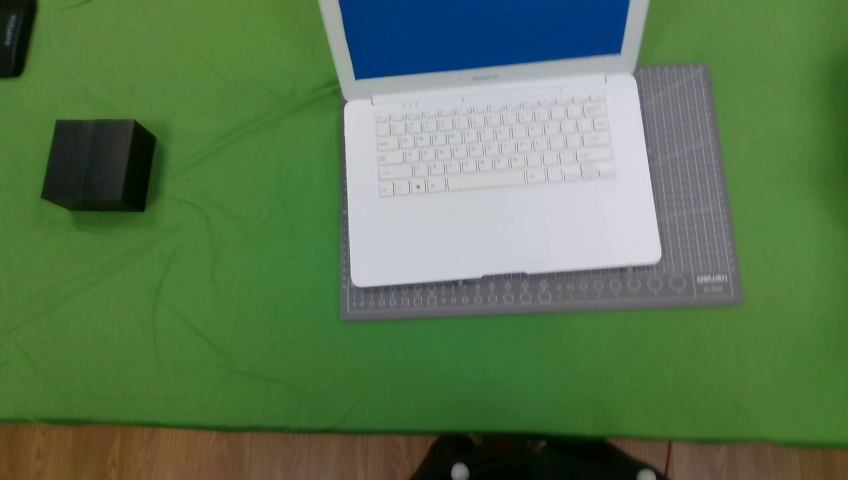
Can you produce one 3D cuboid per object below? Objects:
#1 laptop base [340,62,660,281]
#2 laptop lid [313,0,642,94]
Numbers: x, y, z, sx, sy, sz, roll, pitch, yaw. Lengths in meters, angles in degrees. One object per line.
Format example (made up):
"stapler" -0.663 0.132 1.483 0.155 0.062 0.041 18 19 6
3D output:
"laptop base" 0.081 -0.081 0.711 0.354 0.023 0.234 -5 81 3
"laptop lid" 0.058 -0.265 0.642 0.356 0.244 0.013 -6 52 4
